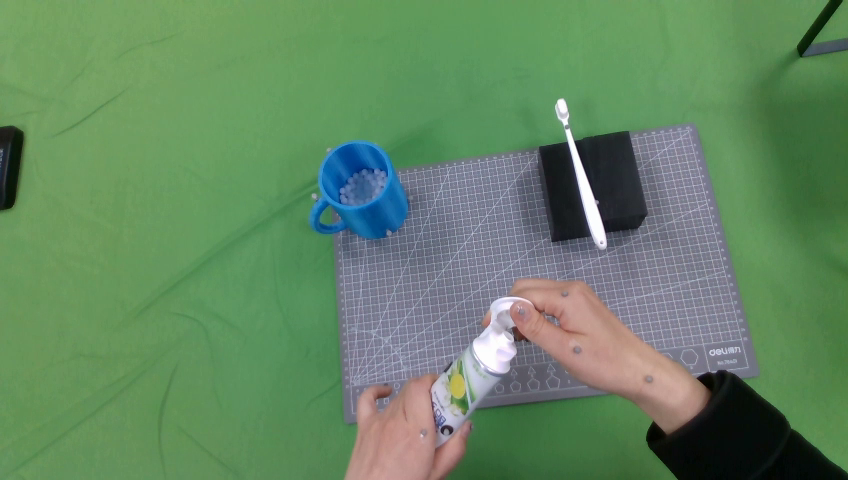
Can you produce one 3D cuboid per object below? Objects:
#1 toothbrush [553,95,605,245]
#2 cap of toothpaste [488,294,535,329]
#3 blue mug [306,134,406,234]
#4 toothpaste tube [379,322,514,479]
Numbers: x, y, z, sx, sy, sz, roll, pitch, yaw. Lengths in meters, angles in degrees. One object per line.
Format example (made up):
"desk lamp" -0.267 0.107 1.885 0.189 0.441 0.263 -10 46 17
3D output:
"toothbrush" 0.170 -0.080 0.665 0.014 0.017 0.180 -11 73 -1
"cap of toothpaste" 0.065 0.054 0.458 0.037 0.038 0.011 1 49 8
"blue mug" -0.083 -0.052 0.696 0.116 0.106 0.082 -35 72 -3
"toothpaste tube" 0.016 0.126 0.487 0.165 0.035 0.054 -53 46 24
